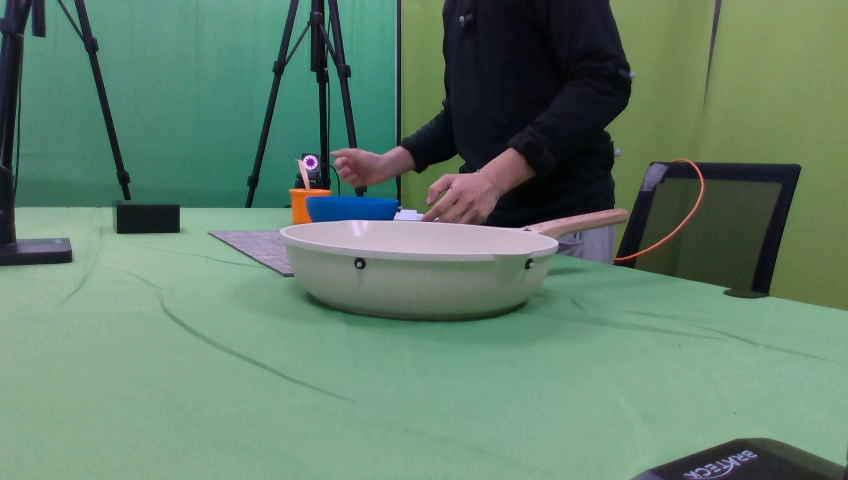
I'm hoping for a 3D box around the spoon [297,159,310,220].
[{"bbox_3d":[-0.260,-0.113,1.340,0.042,0.193,0.021,1,-37,-25],"label":"spoon"}]

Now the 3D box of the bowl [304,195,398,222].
[{"bbox_3d":[-0.118,-0.030,0.973,0.151,0.077,0.151,2,7,0],"label":"bowl"}]

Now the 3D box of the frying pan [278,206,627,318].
[{"bbox_3d":[0.079,0.002,0.705,0.490,0.102,0.305,-12,15,-33],"label":"frying pan"}]

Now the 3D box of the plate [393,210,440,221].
[{"bbox_3d":[-0.073,-0.035,1.196,0.208,0.039,0.207,4,6,0],"label":"plate"}]
